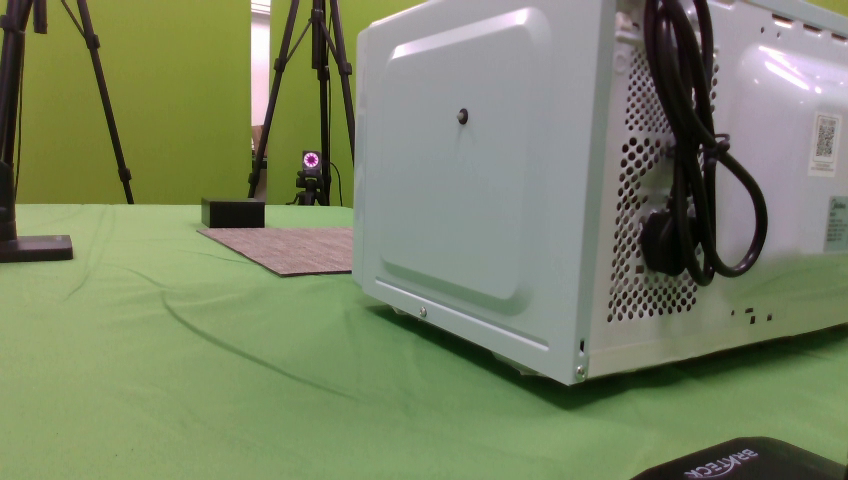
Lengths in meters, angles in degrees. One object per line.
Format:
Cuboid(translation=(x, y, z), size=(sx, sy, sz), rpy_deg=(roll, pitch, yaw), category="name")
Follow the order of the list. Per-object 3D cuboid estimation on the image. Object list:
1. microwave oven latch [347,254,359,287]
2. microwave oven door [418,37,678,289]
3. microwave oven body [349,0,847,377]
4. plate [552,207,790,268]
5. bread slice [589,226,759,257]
Cuboid(translation=(-0.034, 0.028, 0.580), size=(0.079, 0.029, 0.030), rpy_deg=(-1, 7, -31), category="microwave oven latch")
Cuboid(translation=(0.159, -0.078, 0.684), size=(0.358, 0.243, 0.039), rpy_deg=(-2, 9, -32), category="microwave oven door")
Cuboid(translation=(0.199, -0.053, 0.539), size=(0.444, 0.260, 0.324), rpy_deg=(-1, 7, -32), category="microwave oven body")
Cuboid(translation=(0.225, -0.005, 0.572), size=(0.209, 0.038, 0.209), rpy_deg=(4, 7, 0), category="plate")
Cuboid(translation=(0.226, 0.000, 0.568), size=(0.132, 0.019, 0.104), rpy_deg=(3, 6, -23), category="bread slice")
